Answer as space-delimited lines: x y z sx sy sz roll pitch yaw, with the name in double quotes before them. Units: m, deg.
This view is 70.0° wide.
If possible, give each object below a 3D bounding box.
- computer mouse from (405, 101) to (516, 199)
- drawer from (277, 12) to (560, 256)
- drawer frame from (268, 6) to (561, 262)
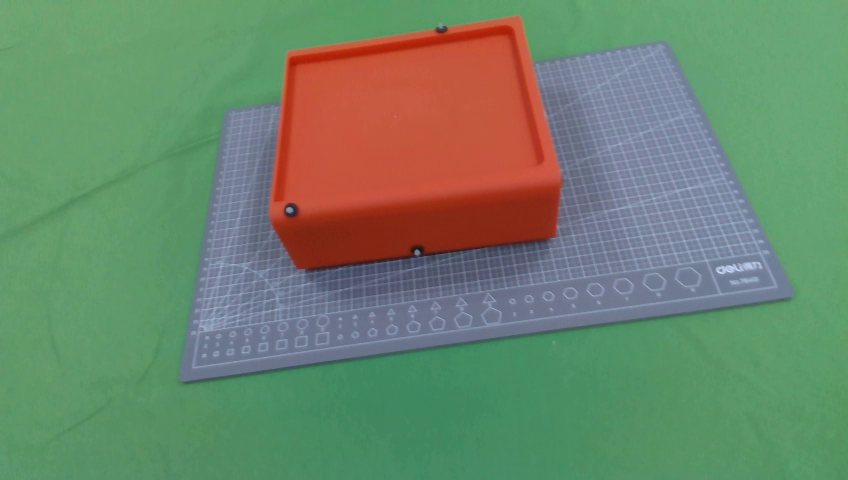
"computer mouse" 0.032 -0.084 0.513 0.062 0.041 0.116 11 50 26
"drawer" -0.006 -0.092 0.510 0.212 0.074 0.192 -7 55 4
"drawer frame" -0.008 -0.091 0.508 0.213 0.083 0.199 -8 55 4
